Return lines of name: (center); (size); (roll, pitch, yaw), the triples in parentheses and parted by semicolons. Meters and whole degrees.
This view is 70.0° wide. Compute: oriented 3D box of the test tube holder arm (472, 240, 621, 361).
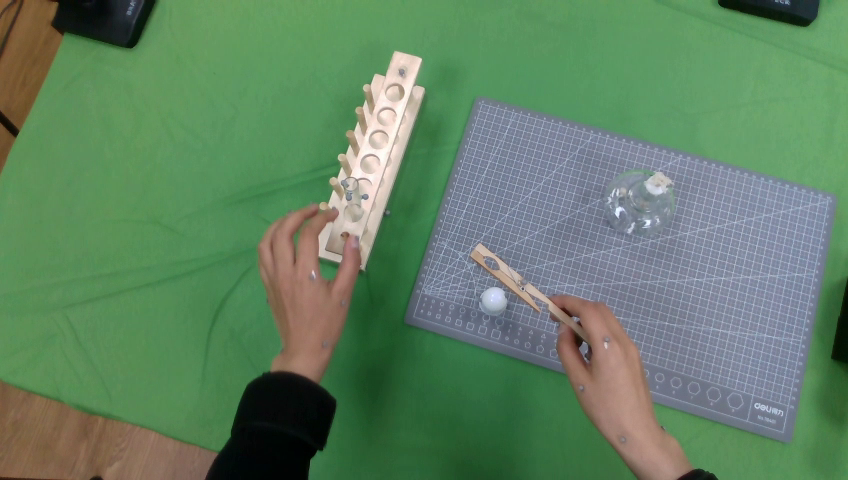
test tube holder arm: (0.118, 0.058, 0.583); (0.178, 0.015, 0.013); (37, 91, -1)

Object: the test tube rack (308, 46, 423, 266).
test tube rack: (-0.070, -0.099, 0.705); (0.066, 0.085, 0.241); (17, 79, 5)

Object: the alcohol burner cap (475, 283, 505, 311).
alcohol burner cap: (0.077, 0.063, 0.688); (0.034, 0.048, 0.033); (0, 79, 1)

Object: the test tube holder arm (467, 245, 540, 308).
test tube holder arm: (0.078, 0.035, 0.583); (0.088, 0.015, 0.010); (38, 91, -1)

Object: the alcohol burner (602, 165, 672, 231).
alcohol burner: (0.240, -0.051, 0.671); (0.078, 0.119, 0.077); (-1, 78, 4)

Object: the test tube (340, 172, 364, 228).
test tube: (-0.075, -0.039, 0.643); (0.017, 0.151, 0.017); (1, 75, -2)
